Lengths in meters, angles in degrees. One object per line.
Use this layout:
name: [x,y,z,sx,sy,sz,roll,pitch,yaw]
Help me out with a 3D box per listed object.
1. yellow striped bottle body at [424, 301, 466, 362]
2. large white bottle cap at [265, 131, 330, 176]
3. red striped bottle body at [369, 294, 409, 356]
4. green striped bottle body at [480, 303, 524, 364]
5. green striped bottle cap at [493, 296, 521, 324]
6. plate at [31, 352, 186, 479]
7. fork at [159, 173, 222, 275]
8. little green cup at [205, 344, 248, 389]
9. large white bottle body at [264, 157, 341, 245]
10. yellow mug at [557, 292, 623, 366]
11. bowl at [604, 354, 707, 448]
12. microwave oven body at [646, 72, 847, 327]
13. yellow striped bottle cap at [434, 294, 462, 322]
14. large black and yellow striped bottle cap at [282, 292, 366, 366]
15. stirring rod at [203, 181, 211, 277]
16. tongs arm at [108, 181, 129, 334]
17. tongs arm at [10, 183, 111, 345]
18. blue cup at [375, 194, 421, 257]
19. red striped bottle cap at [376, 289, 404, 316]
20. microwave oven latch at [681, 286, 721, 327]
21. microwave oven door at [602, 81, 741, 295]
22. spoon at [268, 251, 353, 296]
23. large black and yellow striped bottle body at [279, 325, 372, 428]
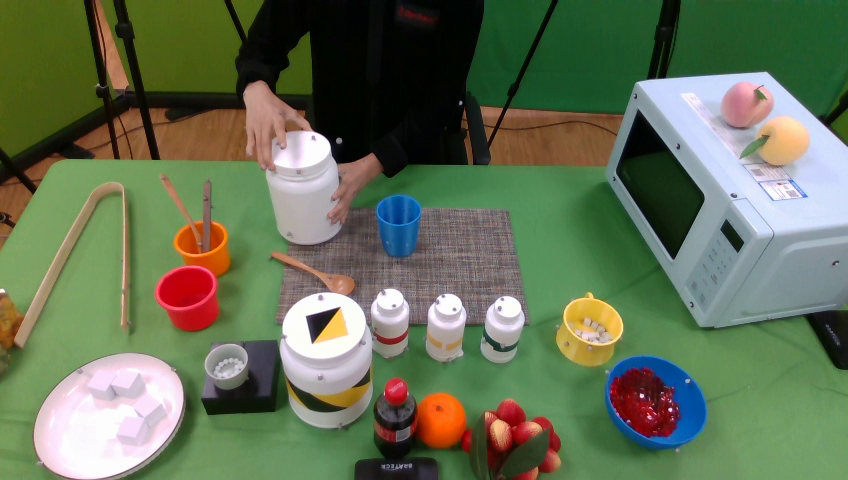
yellow striped bottle body: [0.035,0.143,0.995,0.063,0.121,0.062,3,46,-3]
large white bottle cap: [-0.226,-0.157,1.087,0.115,0.018,0.114,2,45,-2]
red striped bottle body: [-0.059,0.134,0.997,0.063,0.120,0.062,5,47,-5]
green striped bottle body: [0.129,0.147,1.000,0.063,0.120,0.063,2,46,-2]
green striped bottle cap: [0.133,0.111,0.962,0.044,0.020,0.044,2,47,-2]
plate: [-0.459,0.262,0.897,0.209,0.038,0.208,2,46,-2]
fork: [-0.427,-0.029,1.104,0.028,0.018,0.207,-31,99,-31]
little green cup: [-0.294,0.191,0.909,0.061,0.039,0.061,1,47,-1]
large white bottle body: [-0.229,-0.095,1.151,0.130,0.185,0.130,1,46,-1]
yellow mug: [0.285,0.145,1.051,0.100,0.064,0.130,7,45,4]
bowl: [0.346,0.261,0.937,0.151,0.077,0.150,2,46,-2]
microwave oven body: [0.607,-0.089,1.164,0.326,0.261,0.438,-7,46,-10]
yellow striped bottle cap: [0.038,0.107,0.958,0.044,0.019,0.044,2,44,-2]
large black and yellow striped bottle cap: [-0.138,0.121,0.841,0.115,0.019,0.114,3,47,-3]
stirring rod: [-0.396,-0.021,1.107,0.014,0.006,0.176,-1,89,-1]
tongs arm: [-0.571,0.019,1.123,0.051,0.026,0.382,-10,47,-12]
tongs arm: [-0.658,0.027,1.109,0.028,0.028,0.385,-2,45,2]
blue cup: [-0.049,-0.022,1.155,0.093,0.101,0.092,1,46,-1]
red striped bottle cap: [-0.054,0.098,0.958,0.044,0.018,0.044,0,48,1]
microwave oven latch: [0.494,0.119,1.086,0.030,0.029,0.078,-5,46,-9]
microwave oven door: [0.456,-0.107,1.162,0.039,0.245,0.353,-7,47,-11]
spoon: [-0.212,0.057,1.121,0.193,0.022,0.041,24,74,18]
large black and yellow striped bottle body: [-0.143,0.181,0.900,0.131,0.185,0.130,2,46,-2]
